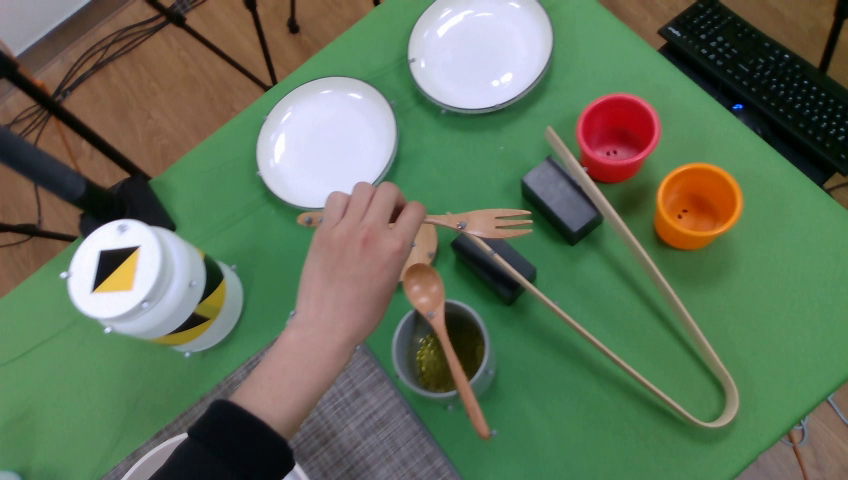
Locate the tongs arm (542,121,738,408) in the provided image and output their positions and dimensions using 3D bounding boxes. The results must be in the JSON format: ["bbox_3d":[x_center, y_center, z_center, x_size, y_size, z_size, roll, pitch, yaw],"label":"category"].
[{"bbox_3d":[0.247,0.020,0.706,0.028,0.028,0.386,-31,81,-10],"label":"tongs arm"}]

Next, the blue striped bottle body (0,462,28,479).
[{"bbox_3d":[-0.567,0.311,0.754,0.063,0.122,0.062,-3,71,10],"label":"blue striped bottle body"}]

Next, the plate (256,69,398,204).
[{"bbox_3d":[-0.136,-0.145,0.865,0.207,0.039,0.206,-3,72,10],"label":"plate"}]

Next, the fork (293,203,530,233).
[{"bbox_3d":[-0.010,-0.021,0.531,0.208,0.018,0.028,1,81,-6],"label":"fork"}]

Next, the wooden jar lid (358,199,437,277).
[{"bbox_3d":[-0.034,-0.001,0.809,0.108,0.021,0.108,-3,73,9],"label":"wooden jar lid"}]

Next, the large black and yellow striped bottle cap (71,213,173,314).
[{"bbox_3d":[-0.339,0.025,0.680,0.115,0.019,0.114,-3,73,9],"label":"large black and yellow striped bottle cap"}]

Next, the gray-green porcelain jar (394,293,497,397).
[{"bbox_3d":[0.030,0.126,0.698,0.105,0.127,0.105,-3,71,10],"label":"gray-green porcelain jar"}]

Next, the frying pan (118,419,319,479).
[{"bbox_3d":[-0.242,0.450,0.653,0.306,0.103,0.484,0,64,12],"label":"frying pan"}]

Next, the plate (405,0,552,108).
[{"bbox_3d":[0.078,-0.278,0.866,0.209,0.038,0.208,-3,72,10],"label":"plate"}]

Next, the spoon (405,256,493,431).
[{"bbox_3d":[0.027,0.106,0.630,0.041,0.022,0.192,-23,73,0],"label":"spoon"}]

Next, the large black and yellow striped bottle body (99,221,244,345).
[{"bbox_3d":[-0.324,0.053,0.759,0.130,0.185,0.130,-3,71,10],"label":"large black and yellow striped bottle body"}]

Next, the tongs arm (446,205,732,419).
[{"bbox_3d":[0.183,0.075,0.696,0.383,0.026,0.050,43,81,8],"label":"tongs arm"}]
